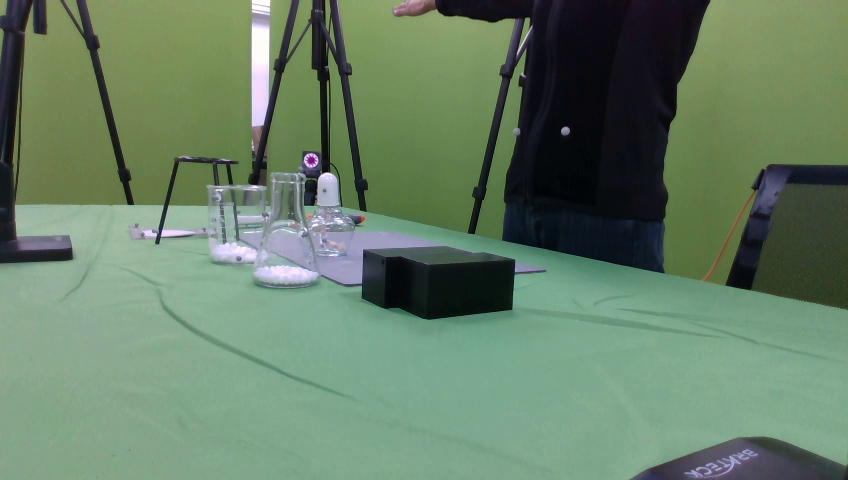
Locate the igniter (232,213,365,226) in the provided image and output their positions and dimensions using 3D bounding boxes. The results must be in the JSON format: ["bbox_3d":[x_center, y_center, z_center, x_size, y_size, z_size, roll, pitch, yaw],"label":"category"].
[{"bbox_3d":[-0.246,-0.042,1.223,0.278,0.025,0.057,-3,-1,-36],"label":"igniter"}]

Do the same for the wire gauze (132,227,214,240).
[{"bbox_3d":[-0.425,-0.013,1.018,0.122,0.011,0.124,-1,6,-28],"label":"wire gauze"}]

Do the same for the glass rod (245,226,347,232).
[{"bbox_3d":[-0.237,-0.021,1.141,0.201,0.008,0.008,-2,8,-32],"label":"glass rod"}]

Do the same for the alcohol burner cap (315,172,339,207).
[{"bbox_3d":[-0.137,-0.072,0.852,0.034,0.048,0.034,1,14,0],"label":"alcohol burner cap"}]

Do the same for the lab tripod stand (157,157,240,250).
[{"bbox_3d":[-0.322,-0.057,0.905,0.148,0.131,0.148,4,7,0],"label":"lab tripod stand"}]

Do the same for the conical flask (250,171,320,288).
[{"bbox_3d":[-0.150,-0.013,0.658,0.075,0.122,0.075,2,7,0],"label":"conical flask"}]

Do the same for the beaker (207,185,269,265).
[{"bbox_3d":[-0.244,-0.021,0.784,0.083,0.100,0.074,6,8,30],"label":"beaker"}]

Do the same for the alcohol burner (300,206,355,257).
[{"bbox_3d":[-0.137,-0.037,0.858,0.078,0.119,0.078,0,7,0],"label":"alcohol burner"}]
